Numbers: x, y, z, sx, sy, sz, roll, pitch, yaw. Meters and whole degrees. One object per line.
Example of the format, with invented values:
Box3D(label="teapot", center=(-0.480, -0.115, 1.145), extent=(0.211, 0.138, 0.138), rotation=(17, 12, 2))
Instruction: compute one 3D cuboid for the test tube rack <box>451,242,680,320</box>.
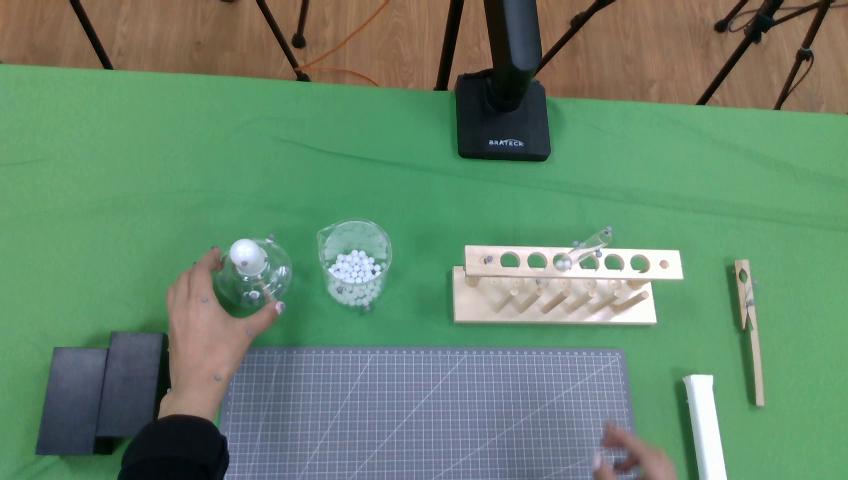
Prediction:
Box3D(label="test tube rack", center=(0.158, 0.049, 0.689), extent=(0.243, 0.085, 0.066), rotation=(1, 70, -8))

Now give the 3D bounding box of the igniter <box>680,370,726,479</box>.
Box3D(label="igniter", center=(0.315, 0.281, 0.660), extent=(0.057, 0.025, 0.274), rotation=(6, 70, -17))

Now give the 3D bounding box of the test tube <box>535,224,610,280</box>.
Box3D(label="test tube", center=(0.154, 0.017, 0.646), extent=(0.017, 0.150, 0.017), rotation=(5, 69, -13))

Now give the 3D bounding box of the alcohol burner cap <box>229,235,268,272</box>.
Box3D(label="alcohol burner cap", center=(-0.175, 0.011, 0.601), extent=(0.034, 0.048, 0.033), rotation=(1, 76, -4))

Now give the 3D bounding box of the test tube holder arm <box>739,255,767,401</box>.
Box3D(label="test tube holder arm", center=(0.398, 0.105, 0.737), extent=(0.013, 0.015, 0.177), rotation=(-10, 68, 26))

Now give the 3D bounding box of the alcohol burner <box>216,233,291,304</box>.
Box3D(label="alcohol burner", center=(-0.181, 0.024, 0.635), extent=(0.078, 0.119, 0.077), rotation=(3, 68, -6))

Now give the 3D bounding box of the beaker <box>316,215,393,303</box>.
Box3D(label="beaker", center=(-0.078, 0.024, 0.657), extent=(0.084, 0.101, 0.073), rotation=(28, 69, 4))

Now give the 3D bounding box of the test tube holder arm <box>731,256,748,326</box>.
Box3D(label="test tube holder arm", center=(0.394, 0.063, 0.754), extent=(0.010, 0.015, 0.087), rotation=(-8, 69, 26))
